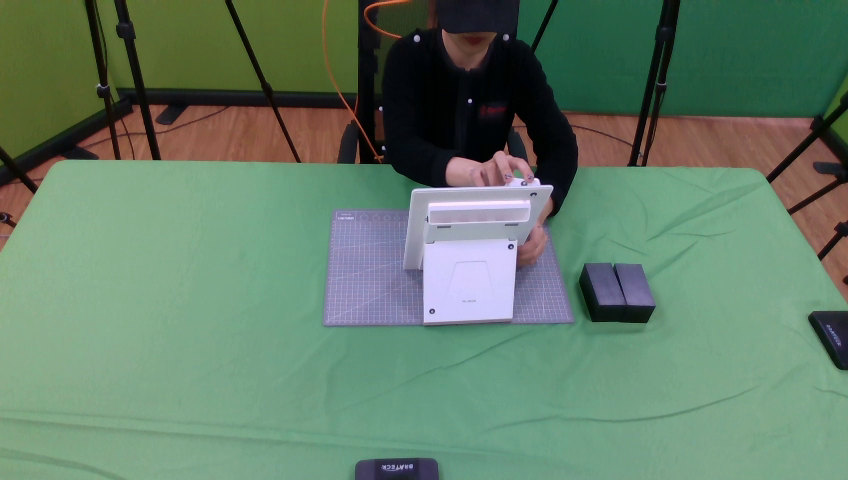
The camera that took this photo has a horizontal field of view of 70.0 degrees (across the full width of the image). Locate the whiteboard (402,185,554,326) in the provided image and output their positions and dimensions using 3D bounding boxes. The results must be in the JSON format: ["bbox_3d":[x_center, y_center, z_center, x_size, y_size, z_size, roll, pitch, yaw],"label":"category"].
[{"bbox_3d":[0.081,0.044,1.005,0.217,0.306,0.143,-1,66,-5],"label":"whiteboard"}]

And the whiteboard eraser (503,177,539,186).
[{"bbox_3d":[0.147,-0.061,0.995,0.056,0.113,0.041,-2,66,-13],"label":"whiteboard eraser"}]
